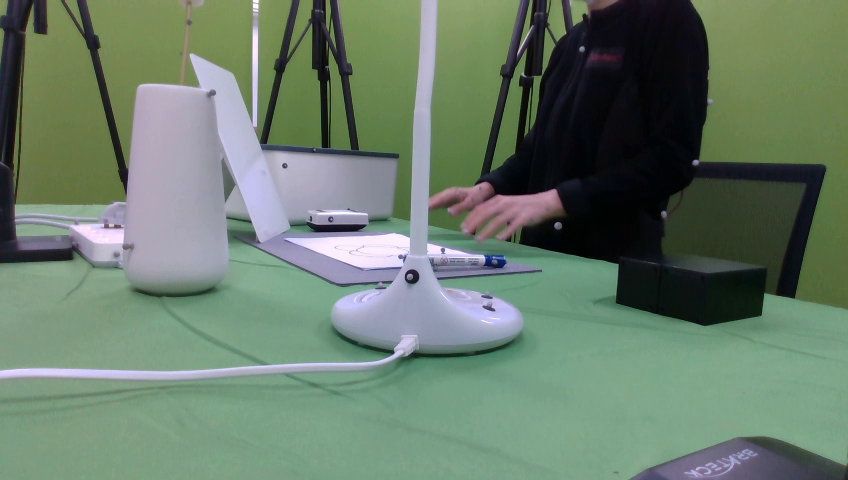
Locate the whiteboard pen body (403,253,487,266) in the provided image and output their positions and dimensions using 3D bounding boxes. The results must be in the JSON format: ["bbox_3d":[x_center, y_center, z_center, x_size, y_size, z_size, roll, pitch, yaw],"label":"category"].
[{"bbox_3d":[0.040,0.026,0.785,0.141,0.017,0.017,1,7,-24],"label":"whiteboard pen body"}]

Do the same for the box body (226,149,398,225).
[{"bbox_3d":[-0.265,-0.129,1.380,0.253,0.160,0.366,8,9,39],"label":"box body"}]

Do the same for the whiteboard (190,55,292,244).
[{"bbox_3d":[-0.363,-0.129,1.028,0.144,0.305,0.217,-18,7,3],"label":"whiteboard"}]

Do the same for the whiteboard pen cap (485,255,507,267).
[{"bbox_3d":[0.093,0.028,0.810,0.033,0.018,0.018,1,7,-24],"label":"whiteboard pen cap"}]

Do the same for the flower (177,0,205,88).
[{"bbox_3d":[-0.243,-0.131,0.609,0.044,0.361,0.038,-5,-12,11],"label":"flower"}]

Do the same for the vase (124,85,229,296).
[{"bbox_3d":[-0.244,-0.047,0.598,0.098,0.200,0.098,3,8,0],"label":"vase"}]

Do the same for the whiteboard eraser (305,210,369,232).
[{"bbox_3d":[-0.168,-0.038,1.172,0.113,0.042,0.055,-3,8,-35],"label":"whiteboard eraser"}]

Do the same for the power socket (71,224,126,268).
[{"bbox_3d":[-0.409,0.004,0.793,0.072,0.032,0.225,-2,8,-37],"label":"power socket"}]

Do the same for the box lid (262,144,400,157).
[{"bbox_3d":[-0.263,-0.203,1.369,0.262,0.015,0.373,9,10,39],"label":"box lid"}]

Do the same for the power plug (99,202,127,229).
[{"bbox_3d":[-0.415,-0.026,0.848,0.073,0.052,0.035,6,5,-28],"label":"power plug"}]

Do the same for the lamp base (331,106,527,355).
[{"bbox_3d":[0.006,-0.012,0.478,0.161,0.180,0.179,2,10,2],"label":"lamp base"}]
